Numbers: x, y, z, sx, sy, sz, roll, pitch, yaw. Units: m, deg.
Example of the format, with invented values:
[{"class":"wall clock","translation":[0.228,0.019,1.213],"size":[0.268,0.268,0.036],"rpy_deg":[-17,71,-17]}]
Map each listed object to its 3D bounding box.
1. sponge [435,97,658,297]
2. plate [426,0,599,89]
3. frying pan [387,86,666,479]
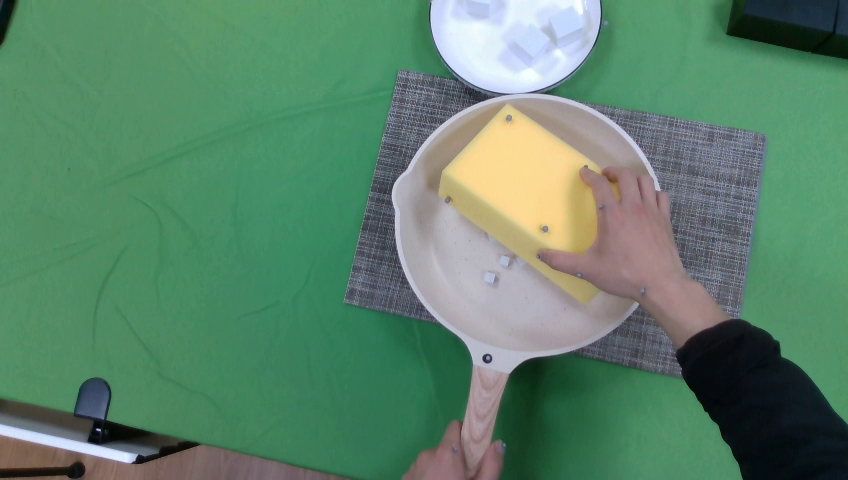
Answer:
[{"class":"sponge","translation":[0.130,-0.049,0.664],"size":[0.206,0.061,0.118],"rpy_deg":[37,70,11]},{"class":"plate","translation":[0.106,-0.281,0.744],"size":[0.207,0.039,0.207],"rpy_deg":[-1,82,4]},{"class":"frying pan","translation":[0.082,0.072,0.658],"size":[0.306,0.103,0.485],"rpy_deg":[15,75,7]}]
